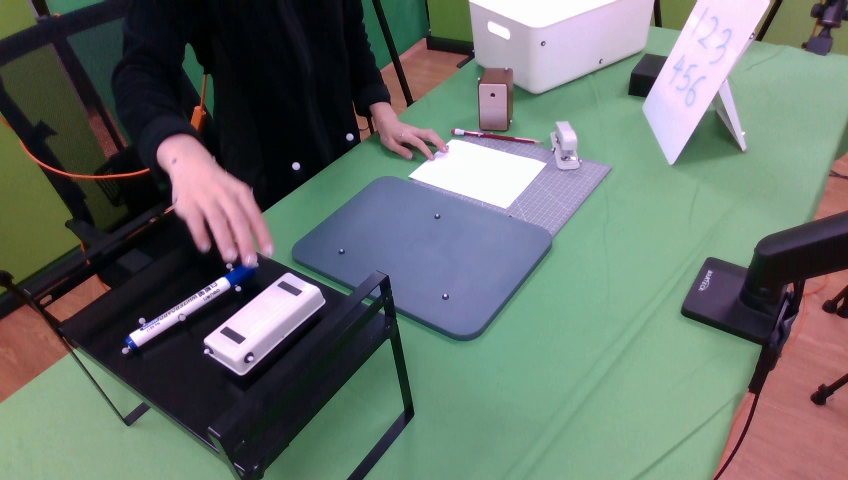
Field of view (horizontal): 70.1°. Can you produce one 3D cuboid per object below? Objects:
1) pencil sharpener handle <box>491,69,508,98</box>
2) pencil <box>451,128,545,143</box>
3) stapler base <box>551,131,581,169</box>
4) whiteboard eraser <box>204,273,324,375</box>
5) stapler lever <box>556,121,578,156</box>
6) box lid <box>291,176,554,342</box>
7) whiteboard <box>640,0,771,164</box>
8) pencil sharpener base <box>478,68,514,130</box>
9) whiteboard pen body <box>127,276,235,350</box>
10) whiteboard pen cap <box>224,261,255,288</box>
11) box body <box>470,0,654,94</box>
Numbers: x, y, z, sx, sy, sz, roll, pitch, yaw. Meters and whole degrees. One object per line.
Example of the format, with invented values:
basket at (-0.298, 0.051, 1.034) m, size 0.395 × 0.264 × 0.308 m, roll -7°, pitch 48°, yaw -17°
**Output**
pencil sharpener handle at (0.155, -0.329, 1.254) m, size 0.036 × 0.068 × 0.030 m, roll 17°, pitch 43°, yaw 3°
pencil at (0.145, -0.207, 1.205) m, size 0.193 × 0.012 × 0.012 m, roll 11°, pitch 44°, yaw 20°
stapler base at (0.268, -0.178, 1.142) m, size 0.041 × 0.024 × 0.130 m, roll 0°, pitch 37°, yaw 3°
whiteboard eraser at (-0.157, 0.084, 0.605) m, size 0.055 × 0.042 × 0.113 m, roll 24°, pitch 49°, yaw 30°
stapler lever at (0.266, -0.198, 1.128) m, size 0.027 × 0.040 × 0.117 m, roll 0°, pitch 38°, yaw 3°
box lid at (-0.005, 0.011, 0.972) m, size 0.368 × 0.015 × 0.264 m, roll 21°, pitch 49°, yaw 30°
whiteboard at (0.543, -0.299, 1.076) m, size 0.144 × 0.305 × 0.216 m, roll 12°, pitch 40°, yaw -7°
pencil sharpener base at (0.148, -0.286, 1.225) m, size 0.061 × 0.107 × 0.076 m, roll 5°, pitch 41°, yaw 15°
whiteboard pen body at (-0.251, 0.070, 0.649) m, size 0.141 × 0.017 × 0.017 m, roll -36°, pitch 48°, yaw -25°
whiteboard pen cap at (-0.207, 0.039, 0.677) m, size 0.033 × 0.018 × 0.018 m, roll -36°, pitch 47°, yaw -18°
box body at (0.319, -0.498, 1.405) m, size 0.365 × 0.161 × 0.252 m, roll -26°, pitch 43°, yaw -21°
